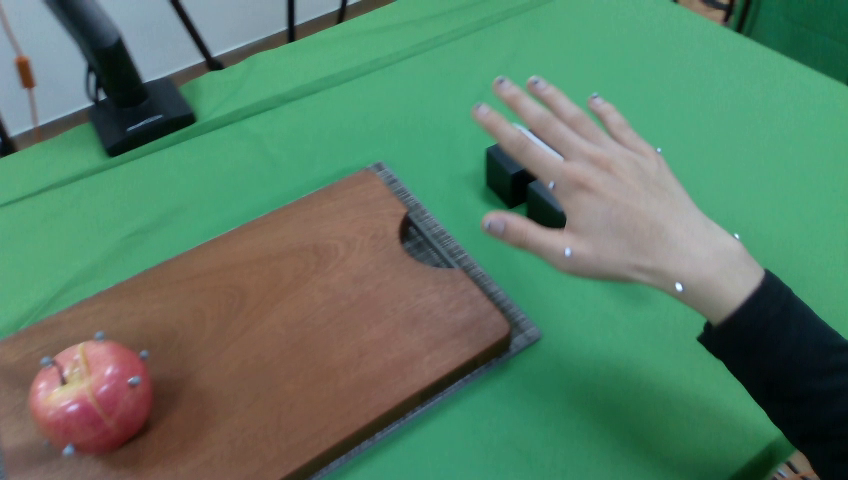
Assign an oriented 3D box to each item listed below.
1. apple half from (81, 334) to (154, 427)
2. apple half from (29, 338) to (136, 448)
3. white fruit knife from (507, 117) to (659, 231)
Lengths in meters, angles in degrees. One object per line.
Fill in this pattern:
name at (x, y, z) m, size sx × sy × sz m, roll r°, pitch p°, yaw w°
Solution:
apple half at (-0.230, 0.106, 0.473) m, size 0.033 × 0.082 × 0.080 m, roll -28°, pitch 52°, yaw -15°
apple half at (-0.264, 0.124, 0.462) m, size 0.053 × 0.075 × 0.080 m, roll -30°, pitch 56°, yaw -13°
white fruit knife at (0.146, -0.072, 0.600) m, size 0.027 × 0.016 × 0.205 m, roll -5°, pitch 39°, yaw -39°
